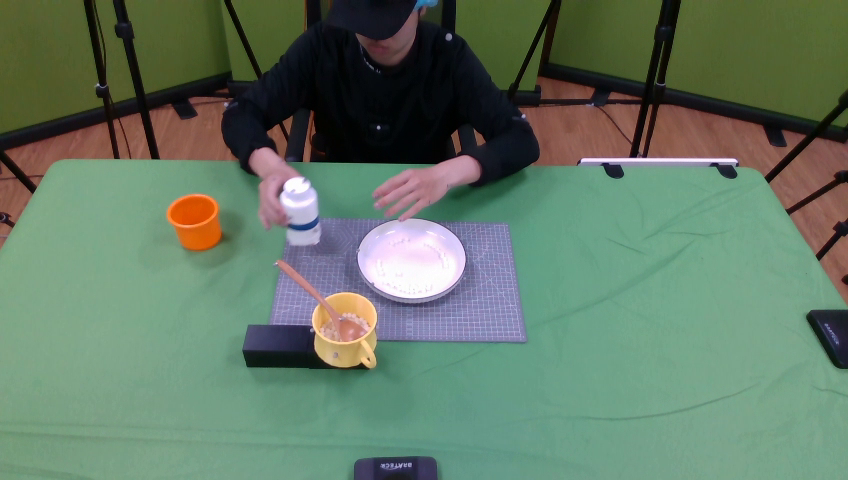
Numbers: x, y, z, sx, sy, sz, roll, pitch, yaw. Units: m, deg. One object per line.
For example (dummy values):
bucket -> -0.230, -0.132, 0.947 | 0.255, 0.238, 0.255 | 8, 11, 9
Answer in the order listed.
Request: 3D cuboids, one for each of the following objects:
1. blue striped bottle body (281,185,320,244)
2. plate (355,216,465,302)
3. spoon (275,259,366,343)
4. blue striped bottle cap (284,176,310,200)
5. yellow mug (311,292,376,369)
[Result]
blue striped bottle body -> -0.221, -0.055, 1.085 | 0.063, 0.121, 0.062 | 2, 45, -2
plate -> -0.026, 0.039, 1.144 | 0.208, 0.039, 0.206 | 2, 46, -2
spoon -> -0.161, 0.098, 0.946 | 0.194, 0.021, 0.041 | 48, 56, -5
blue striped bottle cap -> -0.220, -0.091, 1.049 | 0.044, 0.021, 0.044 | 5, 46, -5
yellow mug -> -0.115, 0.149, 0.945 | 0.100, 0.064, 0.130 | -30, 57, -28
